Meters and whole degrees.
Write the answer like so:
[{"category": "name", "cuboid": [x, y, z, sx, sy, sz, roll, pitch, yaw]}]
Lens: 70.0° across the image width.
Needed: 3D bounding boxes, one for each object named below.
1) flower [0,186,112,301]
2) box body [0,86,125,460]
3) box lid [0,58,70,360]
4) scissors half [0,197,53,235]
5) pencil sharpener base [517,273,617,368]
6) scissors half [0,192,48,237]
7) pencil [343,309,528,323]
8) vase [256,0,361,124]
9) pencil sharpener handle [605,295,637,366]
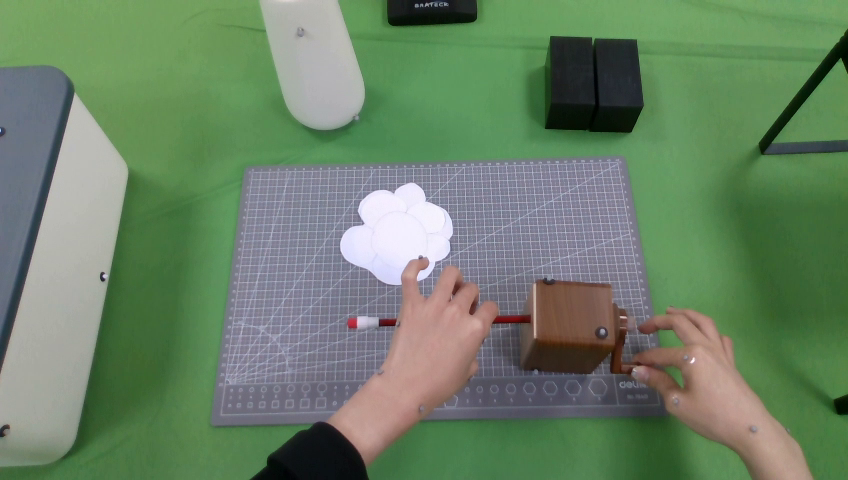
[{"category": "flower", "cuboid": [-0.461, 0.057, 0.663, 0.038, 0.044, 0.359, -9, 39, 33]}, {"category": "box body", "cuboid": [-0.464, 0.026, 0.585, 0.254, 0.161, 0.361, -3, 65, 0]}, {"category": "box lid", "cuboid": [-0.466, -0.008, 0.517, 0.263, 0.015, 0.368, -2, 65, -1]}, {"category": "scissors half", "cuboid": [-0.503, -0.005, 0.667, 0.175, 0.040, 0.012, -27, 35, -12]}, {"category": "pencil sharpener base", "cuboid": [0.132, 0.079, 0.574, 0.076, 0.108, 0.061, 3, 65, 3]}, {"category": "scissors half", "cuboid": [-0.498, 0.005, 0.675, 0.175, 0.040, 0.012, -34, 31, -6]}, {"category": "pencil", "cuboid": [0.023, 0.068, 0.550, 0.194, 0.012, 0.012, -1, 65, -1]}, {"category": "vase", "cuboid": [-0.129, -0.219, 0.669, 0.098, 0.201, 0.097, -1, 64, 3]}, {"category": "pencil sharpener handle", "cuboid": [0.182, 0.084, 0.552, 0.030, 0.036, 0.068, 3, 108, 3]}]
